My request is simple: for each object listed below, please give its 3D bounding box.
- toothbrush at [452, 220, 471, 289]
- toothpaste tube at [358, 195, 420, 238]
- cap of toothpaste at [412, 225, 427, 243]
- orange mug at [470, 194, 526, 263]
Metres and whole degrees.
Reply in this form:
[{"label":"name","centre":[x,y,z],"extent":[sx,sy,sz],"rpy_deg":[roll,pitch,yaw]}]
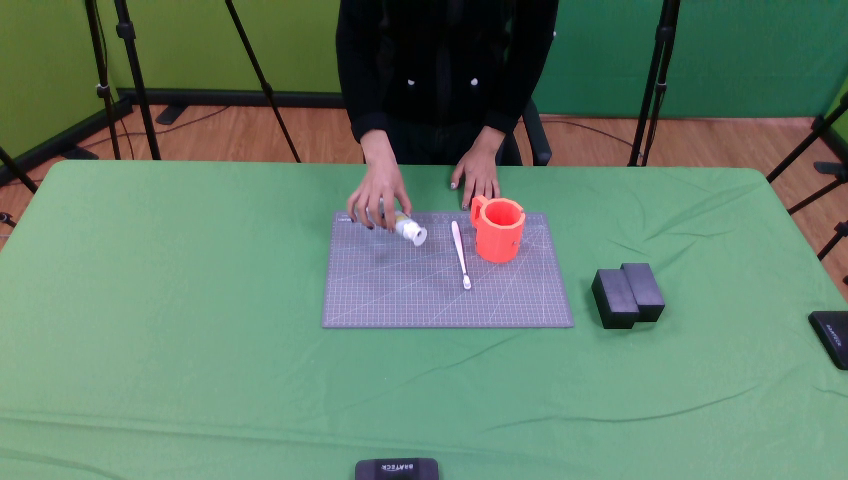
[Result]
[{"label":"toothbrush","centre":[0.071,0.024,1.180],"extent":[0.014,0.017,0.180],"rpy_deg":[-13,45,5]},{"label":"toothpaste tube","centre":[-0.058,-0.046,1.138],"extent":[0.055,0.034,0.164],"rpy_deg":[-20,37,-33]},{"label":"cap of toothpaste","centre":[-0.009,-0.012,1.083],"extent":[0.011,0.037,0.037],"rpy_deg":[30,51,30]},{"label":"orange mug","centre":[0.136,-0.030,1.180],"extent":[0.083,0.101,0.125],"rpy_deg":[-26,58,-26]}]
